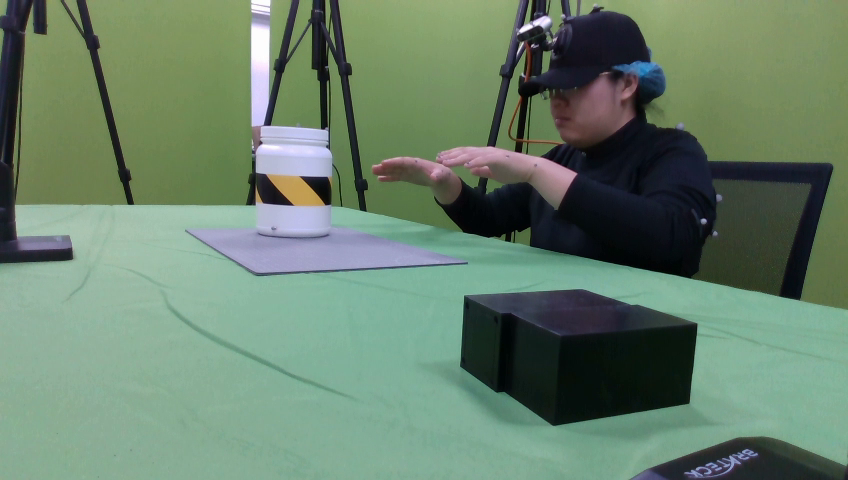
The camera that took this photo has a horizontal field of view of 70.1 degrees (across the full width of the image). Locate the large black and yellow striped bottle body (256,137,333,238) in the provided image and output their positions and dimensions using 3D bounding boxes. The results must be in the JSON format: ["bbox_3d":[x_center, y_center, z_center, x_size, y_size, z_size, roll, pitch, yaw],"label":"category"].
[{"bbox_3d":[-0.228,-0.102,1.063,0.131,0.184,0.130,3,8,0],"label":"large black and yellow striped bottle body"}]

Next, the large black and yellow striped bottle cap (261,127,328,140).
[{"bbox_3d":[-0.224,-0.184,1.051,0.115,0.019,0.115,2,7,0],"label":"large black and yellow striped bottle cap"}]
